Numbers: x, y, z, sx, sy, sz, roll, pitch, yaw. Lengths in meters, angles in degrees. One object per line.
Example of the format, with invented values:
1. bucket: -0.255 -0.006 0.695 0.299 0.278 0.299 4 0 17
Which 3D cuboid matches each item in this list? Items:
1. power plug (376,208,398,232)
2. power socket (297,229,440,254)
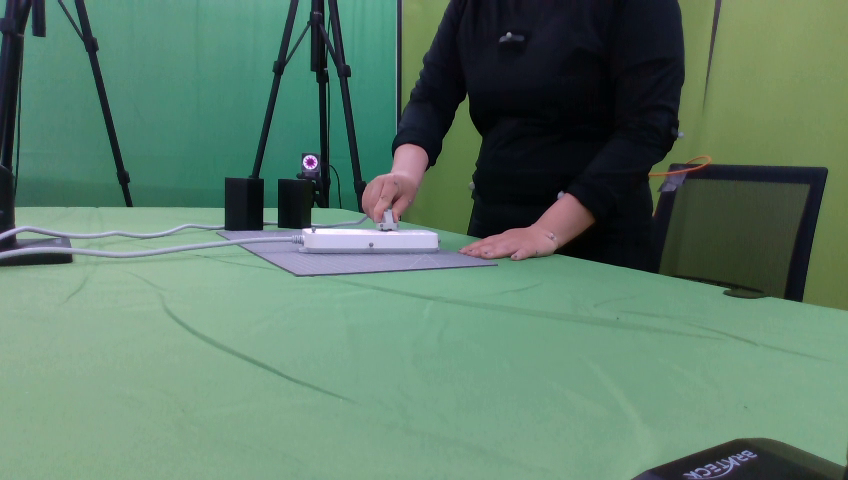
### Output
1. power plug: -0.060 -0.025 0.978 0.035 0.052 0.072 1 4 -4
2. power socket: -0.084 0.001 0.941 0.228 0.032 0.072 0 7 -19
